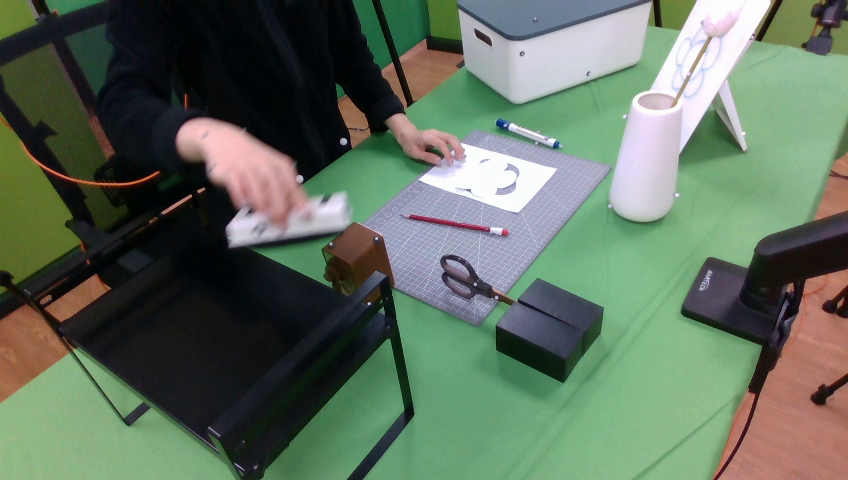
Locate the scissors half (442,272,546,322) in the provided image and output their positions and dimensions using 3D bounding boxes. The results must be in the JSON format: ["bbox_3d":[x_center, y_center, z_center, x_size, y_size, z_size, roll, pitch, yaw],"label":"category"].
[{"bbox_3d":[0.094,0.080,0.838,0.173,0.040,0.013,19,46,39],"label":"scissors half"}]

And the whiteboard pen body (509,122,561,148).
[{"bbox_3d":[0.209,-0.212,1.195,0.139,0.017,0.017,30,52,33],"label":"whiteboard pen body"}]

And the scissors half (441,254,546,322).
[{"bbox_3d":[0.092,0.065,0.824,0.174,0.040,0.013,32,58,25],"label":"scissors half"}]

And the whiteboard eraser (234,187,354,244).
[{"bbox_3d":[-0.127,-0.023,0.604,0.113,0.042,0.055,-10,16,-2],"label":"whiteboard eraser"}]

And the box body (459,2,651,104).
[{"bbox_3d":[0.291,-0.465,1.371,0.365,0.161,0.252,-22,42,-16],"label":"box body"}]

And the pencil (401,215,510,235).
[{"bbox_3d":[0.049,-0.027,1.007,0.193,0.012,0.012,10,43,21],"label":"pencil"}]

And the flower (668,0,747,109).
[{"bbox_3d":[0.354,-0.187,0.879,0.038,0.362,0.044,30,48,14],"label":"flower"}]

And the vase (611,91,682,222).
[{"bbox_3d":[0.348,-0.125,0.935,0.098,0.201,0.097,-3,40,3],"label":"vase"}]

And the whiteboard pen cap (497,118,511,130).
[{"bbox_3d":[0.165,-0.235,1.227,0.033,0.018,0.018,31,53,31],"label":"whiteboard pen cap"}]

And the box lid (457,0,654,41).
[{"bbox_3d":[0.285,-0.522,1.323,0.373,0.015,0.261,-22,43,-16],"label":"box lid"}]

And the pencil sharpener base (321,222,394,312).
[{"bbox_3d":[-0.096,0.041,0.873,0.061,0.107,0.077,25,54,32],"label":"pencil sharpener base"}]

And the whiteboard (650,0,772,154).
[{"bbox_3d":[0.543,-0.298,1.076,0.144,0.305,0.216,12,40,-7],"label":"whiteboard"}]

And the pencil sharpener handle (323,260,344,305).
[{"bbox_3d":[-0.131,0.061,0.839,0.035,0.068,0.031,29,56,27],"label":"pencil sharpener handle"}]
